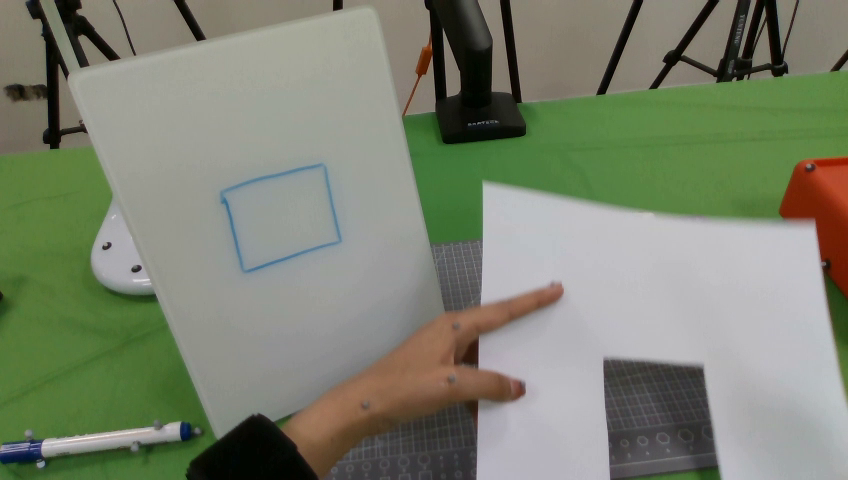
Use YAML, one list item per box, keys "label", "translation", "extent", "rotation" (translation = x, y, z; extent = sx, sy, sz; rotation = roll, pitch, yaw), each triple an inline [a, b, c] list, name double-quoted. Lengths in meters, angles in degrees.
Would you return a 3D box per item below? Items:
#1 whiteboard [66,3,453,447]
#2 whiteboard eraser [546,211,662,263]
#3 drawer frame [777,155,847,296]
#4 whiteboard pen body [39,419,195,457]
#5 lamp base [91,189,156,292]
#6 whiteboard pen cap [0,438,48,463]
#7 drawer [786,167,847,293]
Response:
- label: "whiteboard"
  translation: [-0.126, -0.022, 0.532]
  extent: [0.217, 0.307, 0.142]
  rotation: [-20, 23, -17]
- label: "whiteboard eraser"
  translation: [0.188, -0.002, 0.638]
  extent: [0.112, 0.042, 0.055]
  rotation: [-2, 38, 3]
- label: "drawer frame"
  translation: [0.495, 0.001, 0.579]
  extent: [0.202, 0.083, 0.211]
  rotation: [-6, 39, 0]
- label: "whiteboard pen body"
  translation: [-0.262, 0.164, 0.496]
  extent: [0.141, 0.017, 0.017]
  rotation: [-6, 39, -8]
- label: "lamp base"
  translation: [-0.308, -0.061, 0.648]
  extent: [0.178, 0.182, 0.160]
  rotation: [21, 46, 31]
- label: "whiteboard pen cap"
  translation: [-0.321, 0.170, 0.489]
  extent: [0.033, 0.018, 0.018]
  rotation: [-4, 39, -10]
- label: "drawer"
  translation: [0.495, 0.006, 0.574]
  extent: [0.194, 0.074, 0.209]
  rotation: [-5, 39, 1]
